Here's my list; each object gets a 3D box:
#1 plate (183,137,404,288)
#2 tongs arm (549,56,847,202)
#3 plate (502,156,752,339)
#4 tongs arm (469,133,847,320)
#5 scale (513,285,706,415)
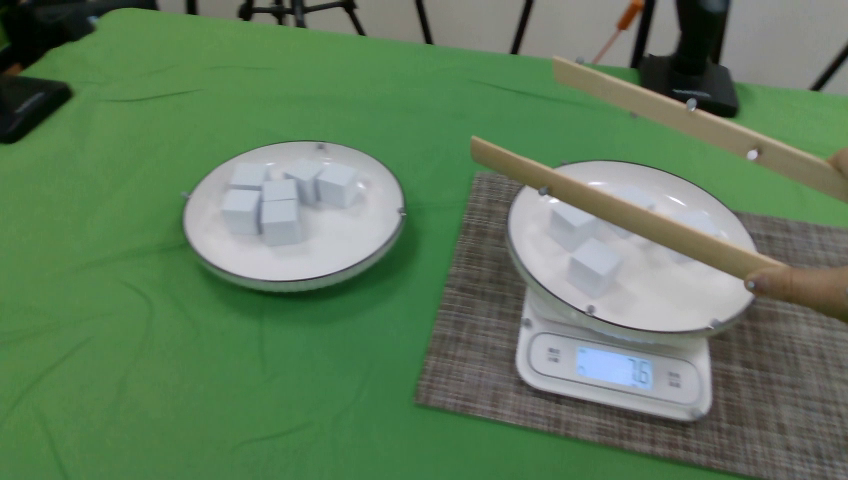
[{"bbox_3d":[-0.123,-0.027,0.592,0.209,0.038,0.207,2,44,-1],"label":"plate"},{"bbox_3d":[0.224,-0.036,0.378,0.381,0.027,0.050,32,66,31],"label":"tongs arm"},{"bbox_3d":[0.169,0.005,0.522,0.208,0.039,0.205,2,45,-1],"label":"plate"},{"bbox_3d":[0.187,0.003,0.360,0.384,0.028,0.028,26,59,29],"label":"tongs arm"},{"bbox_3d":[0.162,0.048,0.525,0.148,0.032,0.199,10,46,9],"label":"scale"}]
